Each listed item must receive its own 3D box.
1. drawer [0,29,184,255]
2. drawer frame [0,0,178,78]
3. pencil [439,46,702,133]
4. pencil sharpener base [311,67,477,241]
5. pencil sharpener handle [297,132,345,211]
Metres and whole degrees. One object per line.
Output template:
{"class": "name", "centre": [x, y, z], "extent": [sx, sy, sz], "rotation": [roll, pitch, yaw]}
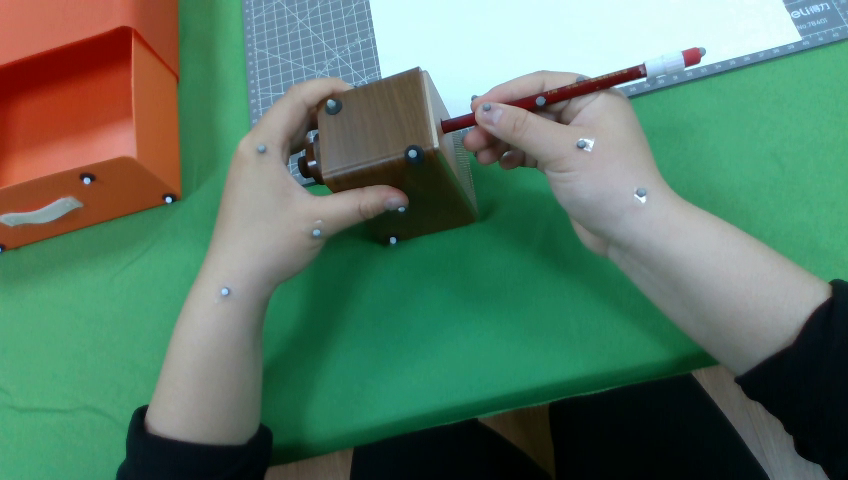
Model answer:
{"class": "drawer", "centre": [-0.306, -0.108, 0.497], "extent": [0.194, 0.074, 0.210], "rotation": [-16, 66, 7]}
{"class": "drawer frame", "centre": [-0.330, -0.213, 0.542], "extent": [0.201, 0.083, 0.211], "rotation": [-15, 65, 7]}
{"class": "pencil", "centre": [0.056, -0.078, 0.345], "extent": [0.194, 0.012, 0.012], "rotation": [-13, 66, 13]}
{"class": "pencil sharpener base", "centre": [-0.017, -0.048, 0.390], "extent": [0.076, 0.108, 0.061], "rotation": [-14, 67, 14]}
{"class": "pencil sharpener handle", "centre": [-0.068, -0.039, 0.390], "extent": [0.030, 0.068, 0.035], "rotation": [-14, 61, 14]}
